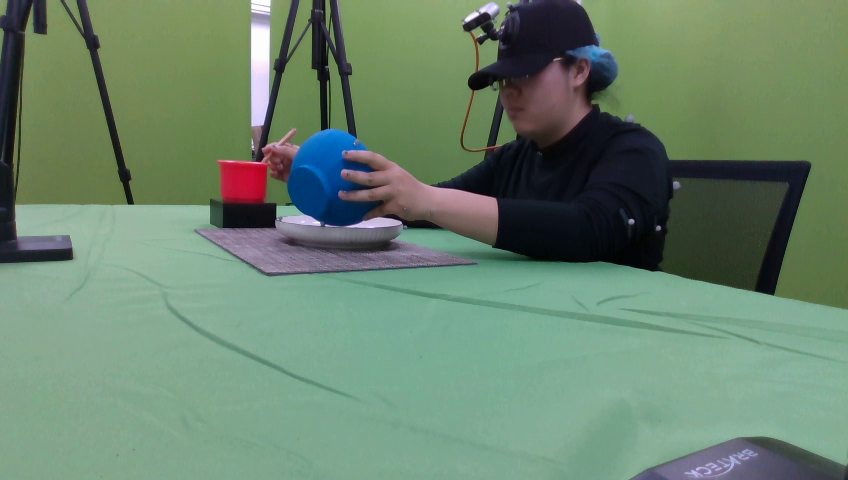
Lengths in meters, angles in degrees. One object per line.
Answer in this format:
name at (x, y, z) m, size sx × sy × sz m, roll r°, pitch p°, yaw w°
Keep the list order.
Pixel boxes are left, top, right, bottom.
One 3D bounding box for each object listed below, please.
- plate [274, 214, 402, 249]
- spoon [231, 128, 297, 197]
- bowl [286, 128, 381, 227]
plate at (-0.140, -0.015, 0.993) m, size 0.208 × 0.039 × 0.207 m, roll 3°, pitch 8°, yaw 0°
spoon at (-0.308, -0.153, 1.181) m, size 0.041 × 0.194 × 0.022 m, roll 16°, pitch -28°, yaw 36°
bowl at (-0.146, -0.081, 0.880) m, size 0.150 × 0.151 × 0.077 m, roll 6°, pitch 24°, yaw 32°
